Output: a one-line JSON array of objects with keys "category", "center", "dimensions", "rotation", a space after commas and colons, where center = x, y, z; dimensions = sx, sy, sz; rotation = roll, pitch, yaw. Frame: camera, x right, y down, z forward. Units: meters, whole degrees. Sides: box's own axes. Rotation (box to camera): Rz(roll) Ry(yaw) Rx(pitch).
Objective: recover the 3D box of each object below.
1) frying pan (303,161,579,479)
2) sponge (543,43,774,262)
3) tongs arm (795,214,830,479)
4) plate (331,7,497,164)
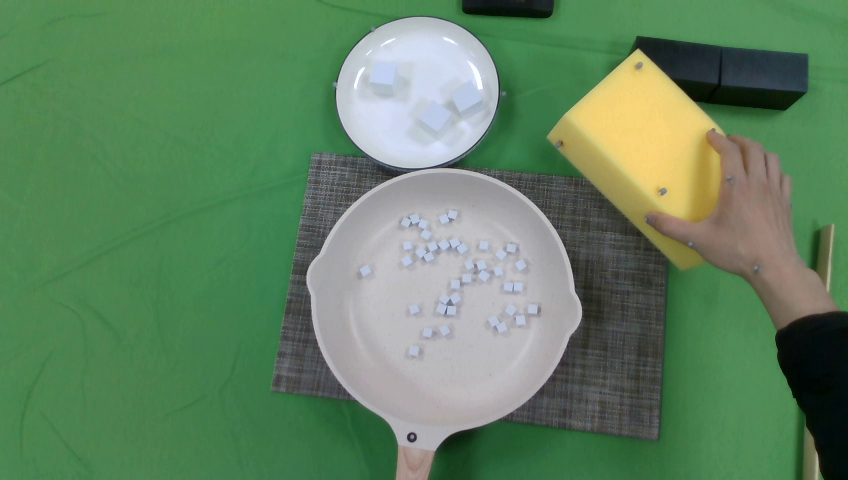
[{"category": "frying pan", "center": [-0.001, 0.154, 0.660], "dimensions": [0.306, 0.103, 0.485], "rotation": [9, 71, 6]}, {"category": "sponge", "center": [0.246, -0.092, 0.645], "dimensions": [0.206, 0.061, 0.118], "rotation": [45, 76, 3]}, {"category": "tongs arm", "center": [0.439, 0.159, 0.677], "dimensions": [0.028, 0.028, 0.386], "rotation": [9, 79, 4]}, {"category": "plate", "center": [-0.012, -0.193, 0.770], "dimensions": [0.207, 0.039, 0.206], "rotation": [-1, 79, 3]}]
